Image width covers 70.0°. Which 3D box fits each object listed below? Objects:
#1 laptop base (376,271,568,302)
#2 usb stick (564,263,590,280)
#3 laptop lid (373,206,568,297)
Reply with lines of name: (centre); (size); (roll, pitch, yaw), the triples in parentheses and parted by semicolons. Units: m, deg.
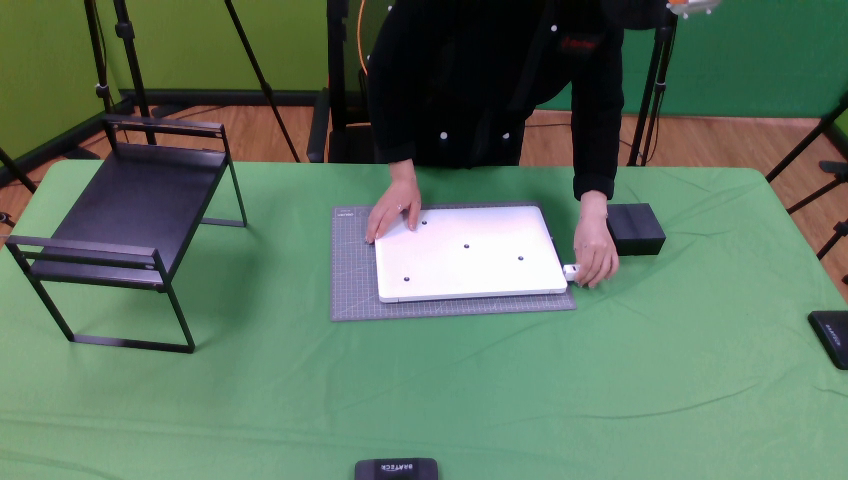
laptop base: (0.081, 0.025, 1.180); (0.355, 0.023, 0.234); (-3, 42, -6)
usb stick: (0.280, 0.060, 1.141); (0.059, 0.027, 0.021); (-5, 48, 0)
laptop lid: (0.081, 0.015, 1.174); (0.357, 0.013, 0.240); (-1, 44, -5)
